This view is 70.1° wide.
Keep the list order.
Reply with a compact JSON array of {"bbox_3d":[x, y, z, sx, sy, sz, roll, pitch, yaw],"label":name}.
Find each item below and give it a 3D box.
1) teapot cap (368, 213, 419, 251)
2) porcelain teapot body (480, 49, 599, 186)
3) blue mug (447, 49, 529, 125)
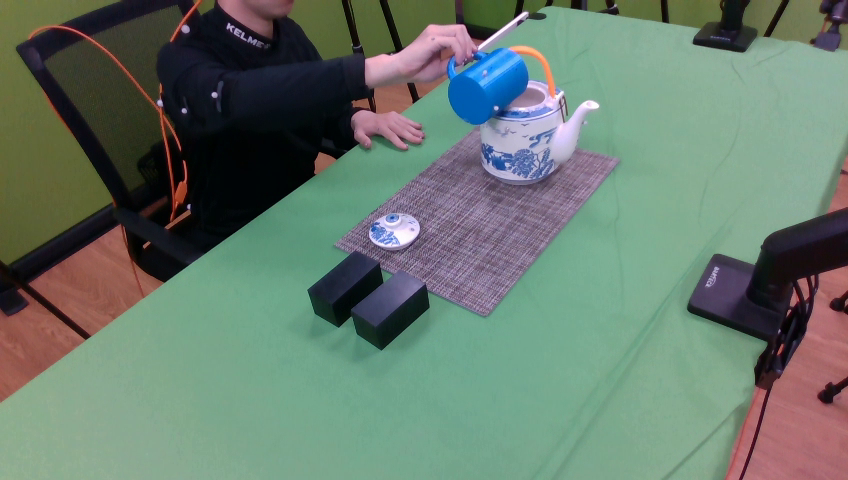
[{"bbox_3d":[-0.050,-0.019,0.975,0.085,0.044,0.084,-4,43,4],"label":"teapot cap"},{"bbox_3d":[0.193,-0.208,1.023,0.204,0.226,0.145,16,46,25],"label":"porcelain teapot body"},{"bbox_3d":[0.089,-0.251,0.945,0.116,0.082,0.106,45,58,7],"label":"blue mug"}]
